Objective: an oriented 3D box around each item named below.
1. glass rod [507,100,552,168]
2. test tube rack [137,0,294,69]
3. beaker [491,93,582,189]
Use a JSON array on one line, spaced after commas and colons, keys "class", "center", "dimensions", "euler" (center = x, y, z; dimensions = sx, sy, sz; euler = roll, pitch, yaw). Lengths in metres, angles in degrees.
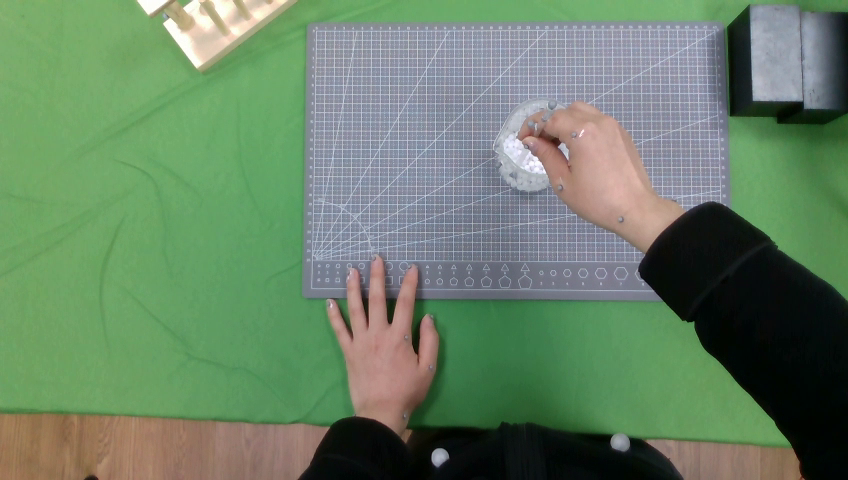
[{"class": "glass rod", "center": [0.092, -0.090, 0.544], "dimensions": [0.008, 0.200, 0.008], "euler": [0, 84, 0]}, {"class": "test tube rack", "center": [-0.171, -0.289, 0.628], "dimensions": [0.242, 0.085, 0.066], "euler": [-37, 85, -2]}, {"class": "beaker", "center": [0.104, -0.091, 0.597], "dimensions": [0.084, 0.100, 0.074], "euler": [-11, 84, 1]}]
